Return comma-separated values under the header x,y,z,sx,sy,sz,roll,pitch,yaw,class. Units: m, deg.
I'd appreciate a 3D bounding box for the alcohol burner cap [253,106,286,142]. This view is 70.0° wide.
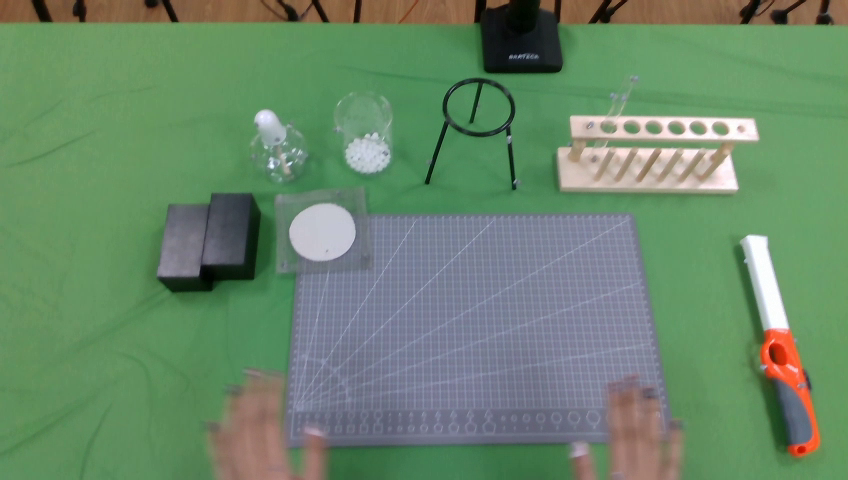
x,y,z,sx,sy,sz,roll,pitch,yaw,class
-0.196,-0.148,0.761,0.034,0.048,0.033,-1,69,4,alcohol burner cap

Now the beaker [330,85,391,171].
x,y,z,sx,sy,sz,roll,pitch,yaw,class
-0.079,-0.143,0.810,0.074,0.101,0.083,-29,70,-13,beaker

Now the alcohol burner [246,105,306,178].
x,y,z,sx,sy,sz,roll,pitch,yaw,class
-0.197,-0.133,0.794,0.078,0.120,0.077,1,63,-1,alcohol burner

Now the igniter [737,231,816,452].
x,y,z,sx,sy,sz,roll,pitch,yaw,class
0.431,0.116,0.745,0.057,0.025,0.274,5,65,-11,igniter

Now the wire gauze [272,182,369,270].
x,y,z,sx,sy,sz,roll,pitch,yaw,class
-0.138,-0.020,0.798,0.125,0.011,0.120,-5,65,-3,wire gauze

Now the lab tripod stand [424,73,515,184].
x,y,z,sx,sy,sz,roll,pitch,yaw,class
0.063,-0.145,0.796,0.148,0.132,0.147,0,64,1,lab tripod stand

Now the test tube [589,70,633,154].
x,y,z,sx,sy,sz,roll,pitch,yaw,class
0.237,-0.160,0.779,0.017,0.151,0.017,1,61,-1,test tube

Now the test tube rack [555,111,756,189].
x,y,z,sx,sy,sz,roll,pitch,yaw,class
0.308,-0.120,0.818,0.242,0.086,0.066,1,65,-1,test tube rack
